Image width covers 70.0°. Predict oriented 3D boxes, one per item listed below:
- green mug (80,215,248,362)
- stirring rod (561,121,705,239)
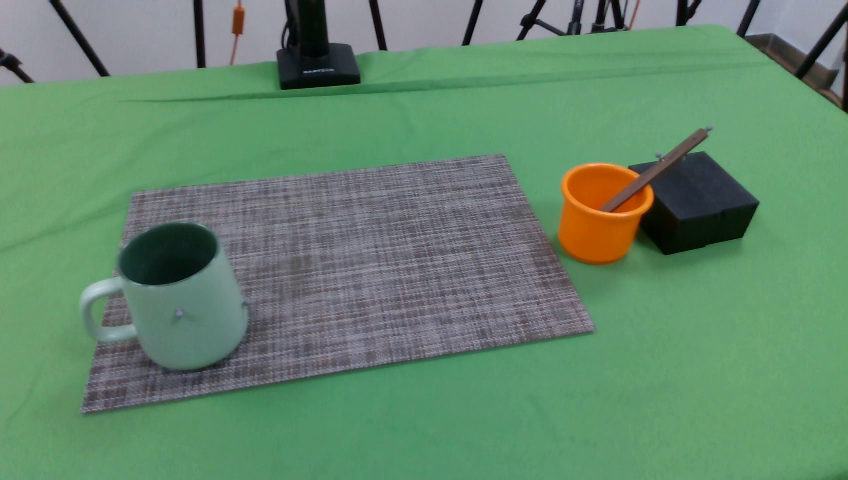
[{"bbox_3d":[-0.220,0.047,0.513,0.125,0.106,0.091,-16,46,-18],"label":"green mug"},{"bbox_3d":[0.212,-0.060,0.623,0.176,0.006,0.014,-42,48,17],"label":"stirring rod"}]
